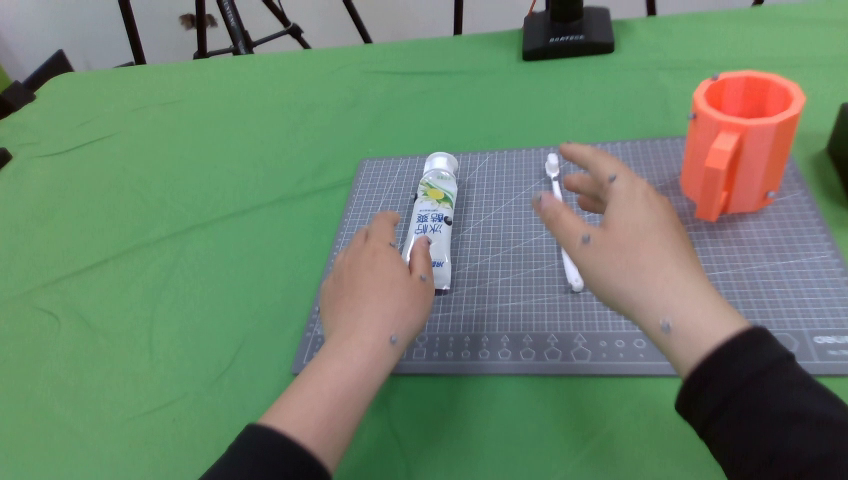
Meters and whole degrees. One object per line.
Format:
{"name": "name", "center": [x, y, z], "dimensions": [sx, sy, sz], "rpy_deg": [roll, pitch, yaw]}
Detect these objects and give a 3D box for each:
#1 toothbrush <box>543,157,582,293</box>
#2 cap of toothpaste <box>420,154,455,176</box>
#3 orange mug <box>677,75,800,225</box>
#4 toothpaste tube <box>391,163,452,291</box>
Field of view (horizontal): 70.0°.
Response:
{"name": "toothbrush", "center": [0.131, -0.021, 0.574], "dimensions": [0.014, 0.017, 0.180], "rpy_deg": [3, 44, -2]}
{"name": "cap of toothpaste", "center": [0.014, -0.076, 0.642], "dimensions": [0.037, 0.038, 0.011], "rpy_deg": [1, 51, 13]}
{"name": "orange mug", "center": [0.271, -0.075, 0.539], "dimensions": [0.083, 0.102, 0.126], "rpy_deg": [20, 47, 31]}
{"name": "toothpaste tube", "center": [0.004, -0.017, 0.593], "dimensions": [0.055, 0.035, 0.163], "rpy_deg": [-6, 47, 15]}
